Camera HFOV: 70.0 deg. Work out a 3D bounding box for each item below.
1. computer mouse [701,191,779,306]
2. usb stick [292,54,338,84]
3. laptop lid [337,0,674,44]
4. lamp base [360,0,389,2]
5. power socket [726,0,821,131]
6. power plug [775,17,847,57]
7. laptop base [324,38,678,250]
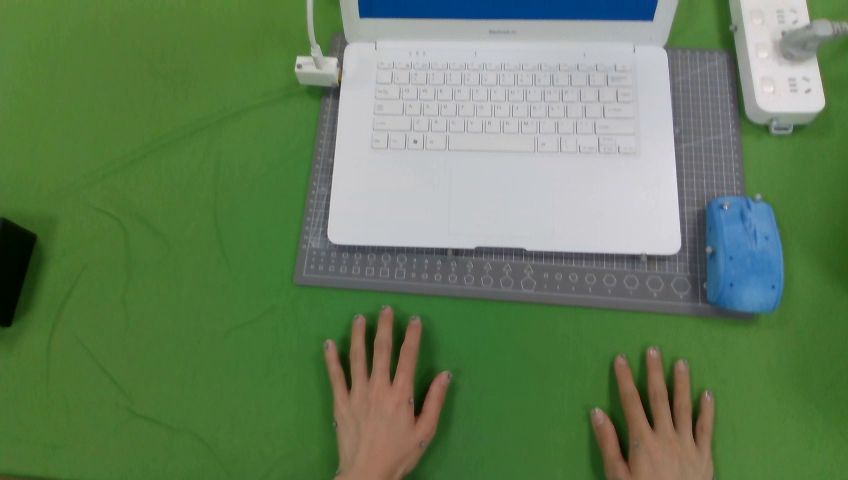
[{"bbox_3d":[0.302,0.005,0.582,0.063,0.041,0.116,7,69,6],"label":"computer mouse"},{"bbox_3d":[-0.111,-0.186,0.661,0.059,0.027,0.021,6,67,2],"label":"usb stick"},{"bbox_3d":[0.080,-0.295,0.586,0.356,0.244,0.013,0,48,4],"label":"laptop lid"},{"bbox_3d":[-0.067,-0.385,0.652,0.160,0.181,0.178,-34,71,-8],"label":"lamp base"},{"bbox_3d":[0.374,-0.226,0.658,0.072,0.033,0.225,2,72,2],"label":"power socket"},{"bbox_3d":[0.402,-0.202,0.625,0.072,0.053,0.035,12,71,5],"label":"power plug"},{"bbox_3d":[0.079,-0.105,0.640,0.354,0.023,0.234,2,76,3],"label":"laptop base"}]
